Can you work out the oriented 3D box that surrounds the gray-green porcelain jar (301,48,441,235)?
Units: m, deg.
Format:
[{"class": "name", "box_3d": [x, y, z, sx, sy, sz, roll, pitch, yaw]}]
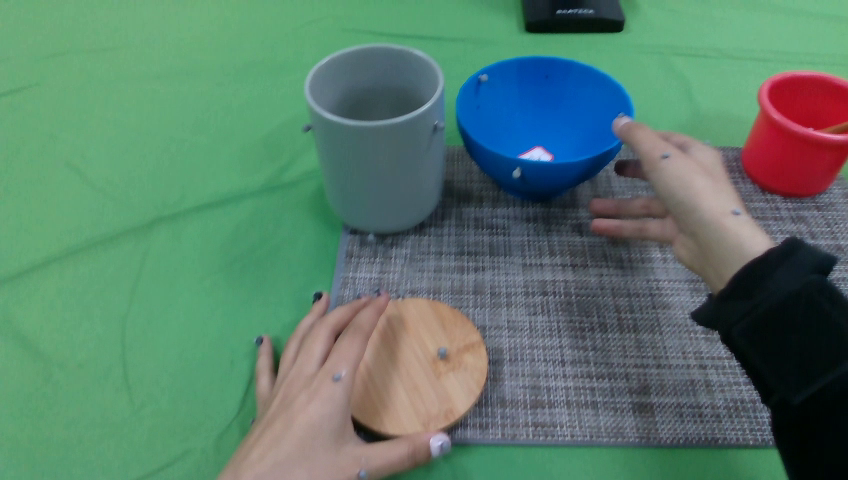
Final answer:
[{"class": "gray-green porcelain jar", "box_3d": [-0.039, -0.075, 0.501, 0.106, 0.127, 0.105, -1, 49, 1]}]

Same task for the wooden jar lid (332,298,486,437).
[{"class": "wooden jar lid", "box_3d": [-0.010, 0.089, 0.427, 0.108, 0.021, 0.107, -1, 48, 2]}]

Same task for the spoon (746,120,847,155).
[{"class": "spoon", "box_3d": [0.356, -0.093, 0.495, 0.041, 0.193, 0.022, -34, 101, -23]}]

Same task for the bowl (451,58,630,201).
[{"class": "bowl", "box_3d": [0.099, -0.088, 0.542, 0.151, 0.077, 0.150, -1, 49, 1]}]
